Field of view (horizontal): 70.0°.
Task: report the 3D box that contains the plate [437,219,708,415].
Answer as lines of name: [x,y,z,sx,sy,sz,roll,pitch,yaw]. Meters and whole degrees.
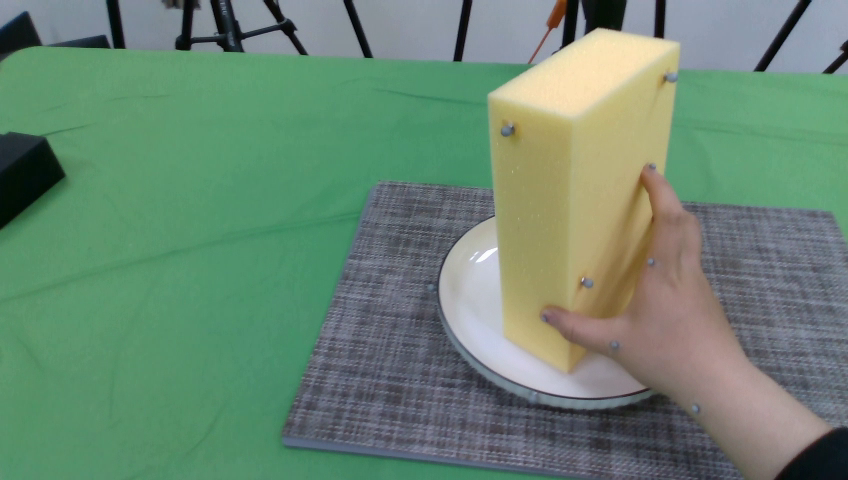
plate: [0.114,0.053,0.487,0.207,0.039,0.205,-1,42,2]

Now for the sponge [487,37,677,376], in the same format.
sponge: [0.110,-0.019,0.425,0.060,0.209,0.118,26,51,37]
